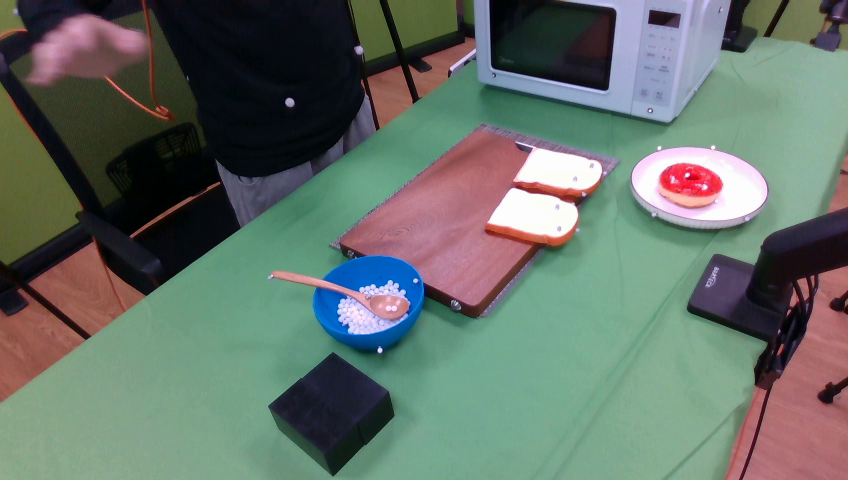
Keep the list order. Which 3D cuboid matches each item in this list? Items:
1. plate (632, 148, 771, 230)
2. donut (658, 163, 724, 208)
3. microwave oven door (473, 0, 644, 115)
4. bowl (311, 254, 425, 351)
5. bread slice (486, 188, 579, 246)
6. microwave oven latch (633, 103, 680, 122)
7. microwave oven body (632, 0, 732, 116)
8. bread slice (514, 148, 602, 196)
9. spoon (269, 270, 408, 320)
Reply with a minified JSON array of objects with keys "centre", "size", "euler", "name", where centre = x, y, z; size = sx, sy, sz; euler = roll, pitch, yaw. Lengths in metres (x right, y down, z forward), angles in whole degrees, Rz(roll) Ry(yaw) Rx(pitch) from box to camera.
[{"centre":[0.447,-0.081,0.988],"size":[0.207,0.039,0.206],"euler":[-4,40,4],"name":"plate"},{"centre":[0.432,-0.090,0.982],"size":[0.099,0.048,0.098],"euler":[-3,38,3],"name":"donut"},{"centre":[0.257,-0.396,1.199],"size":[0.353,0.245,0.039],"euler":[21,48,29],"name":"microwave oven door"},{"centre":[-0.071,0.097,0.821],"size":[0.151,0.077,0.150],"euler":[-4,40,4],"name":"bowl"},{"centre":[0.176,-0.037,0.946],"size":[0.131,0.019,0.105],"euler":[16,47,24],"name":"bread slice"},{"centre":[0.444,-0.249,1.157],"size":[0.078,0.029,0.030],"euler":[21,49,30],"name":"microwave oven latch"},{"centre":[0.377,-0.462,1.267],"size":[0.438,0.261,0.327],"euler":[21,48,30],"name":"microwave oven body"},{"centre":[0.232,-0.114,1.027],"size":[0.133,0.018,0.107],"euler":[13,45,20],"name":"bread slice"},{"centre":[-0.115,0.068,0.813],"size":[0.194,0.021,0.041],"euler":[18,47,0],"name":"spoon"}]
